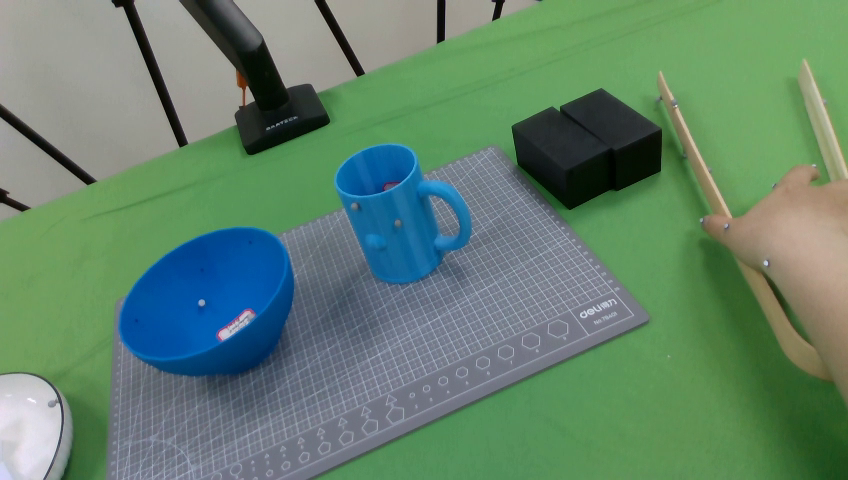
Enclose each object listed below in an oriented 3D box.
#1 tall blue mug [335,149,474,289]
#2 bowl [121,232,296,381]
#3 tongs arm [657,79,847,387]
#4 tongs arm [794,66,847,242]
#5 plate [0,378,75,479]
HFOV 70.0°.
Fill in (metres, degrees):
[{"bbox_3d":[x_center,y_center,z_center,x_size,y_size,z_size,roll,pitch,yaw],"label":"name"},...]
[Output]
[{"bbox_3d":[-0.013,-0.022,0.559,0.107,0.109,0.077,-15,41,3],"label":"tall blue mug"},{"bbox_3d":[-0.176,0.071,0.539,0.151,0.077,0.150,-10,42,9],"label":"bowl"},{"bbox_3d":[0.274,-0.040,0.537,0.050,0.027,0.381,-3,43,8],"label":"tongs arm"},{"bbox_3d":[0.349,-0.043,0.522,0.028,0.028,0.384,8,47,14],"label":"tongs arm"},{"bbox_3d":[-0.385,0.211,0.497,0.209,0.038,0.207,-9,42,9],"label":"plate"}]
